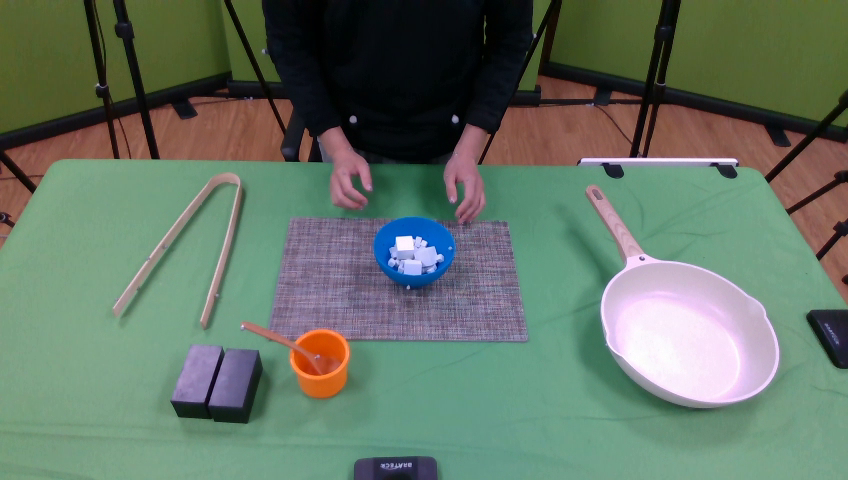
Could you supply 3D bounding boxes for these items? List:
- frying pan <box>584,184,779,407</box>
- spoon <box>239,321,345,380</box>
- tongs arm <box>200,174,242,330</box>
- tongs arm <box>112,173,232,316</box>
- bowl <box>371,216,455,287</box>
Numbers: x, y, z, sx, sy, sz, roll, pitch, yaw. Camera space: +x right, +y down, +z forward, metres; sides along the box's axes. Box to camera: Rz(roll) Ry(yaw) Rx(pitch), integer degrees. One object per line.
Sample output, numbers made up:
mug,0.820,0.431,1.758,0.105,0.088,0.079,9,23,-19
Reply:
frying pan,0.412,0.079,1.096,0.307,0.103,0.484,-10,56,-15
spoon,-0.200,0.168,0.934,0.021,0.195,0.041,-34,36,25
tongs arm,-0.386,0.008,1.158,0.028,0.028,0.385,-1,46,-3
tongs arm,-0.467,-0.005,1.157,0.051,0.026,0.382,11,45,4
bowl,-0.022,0.034,1.119,0.151,0.077,0.150,2,46,-2
